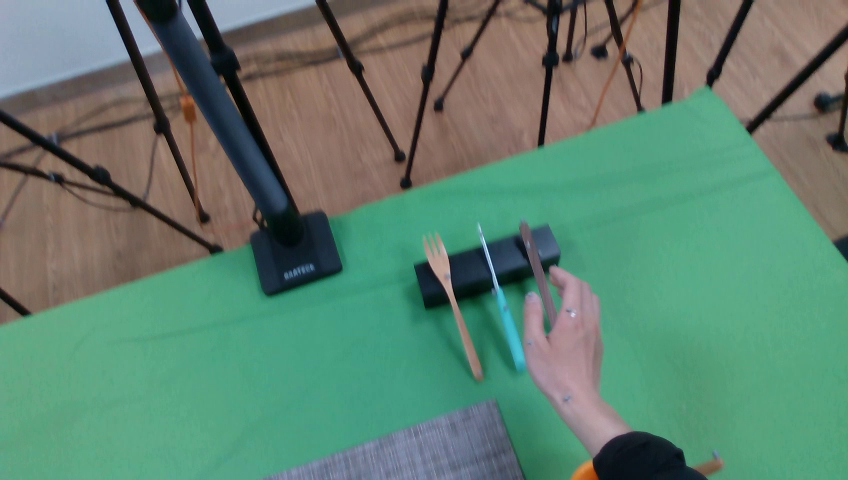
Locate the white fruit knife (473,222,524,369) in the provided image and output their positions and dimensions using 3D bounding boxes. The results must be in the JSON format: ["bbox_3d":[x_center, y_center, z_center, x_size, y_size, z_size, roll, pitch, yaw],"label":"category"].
[{"bbox_3d":[0.097,0.072,0.820,0.016,0.027,0.206,-15,78,-8],"label":"white fruit knife"}]

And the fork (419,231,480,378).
[{"bbox_3d":[0.037,0.087,0.817,0.028,0.019,0.206,-19,81,-7],"label":"fork"}]

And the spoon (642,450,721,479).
[{"bbox_3d":[0.236,0.271,0.665,0.022,0.194,0.041,11,50,-42],"label":"spoon"}]

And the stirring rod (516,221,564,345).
[{"bbox_3d":[0.158,0.058,0.827,0.014,0.006,0.176,-18,87,3],"label":"stirring rod"}]
